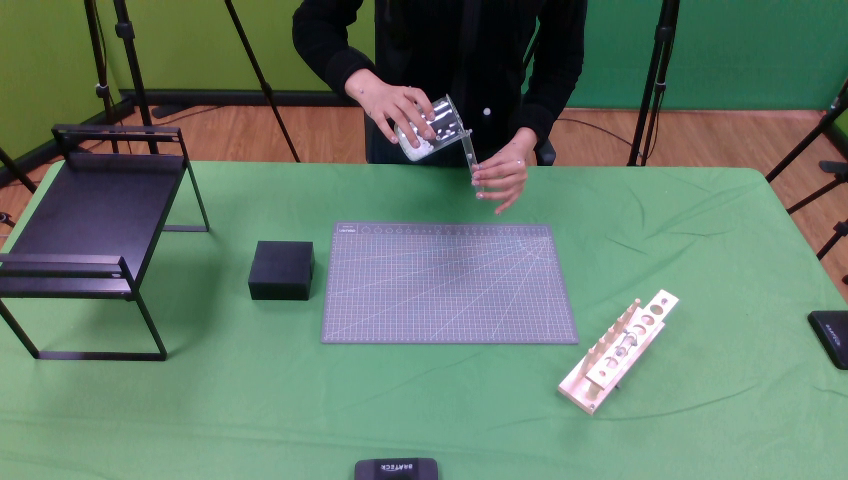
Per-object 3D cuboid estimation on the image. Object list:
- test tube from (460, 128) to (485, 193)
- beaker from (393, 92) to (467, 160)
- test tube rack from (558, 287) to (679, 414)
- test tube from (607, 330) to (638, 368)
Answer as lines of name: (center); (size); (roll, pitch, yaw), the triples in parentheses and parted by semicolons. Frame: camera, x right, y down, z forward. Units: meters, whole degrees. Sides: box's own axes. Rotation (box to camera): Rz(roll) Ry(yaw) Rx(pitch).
test tube: (0.084, -0.132, 1.032); (0.017, 0.151, 0.017); (-9, 51, 12)
beaker: (0.010, -0.175, 0.955); (0.100, 0.084, 0.073); (-26, 55, 11)
test tube rack: (0.326, 0.170, 1.009); (0.066, 0.085, 0.242); (36, 54, 27)
test tube: (0.292, 0.184, 0.924); (0.017, 0.151, 0.017); (4, 48, -4)
